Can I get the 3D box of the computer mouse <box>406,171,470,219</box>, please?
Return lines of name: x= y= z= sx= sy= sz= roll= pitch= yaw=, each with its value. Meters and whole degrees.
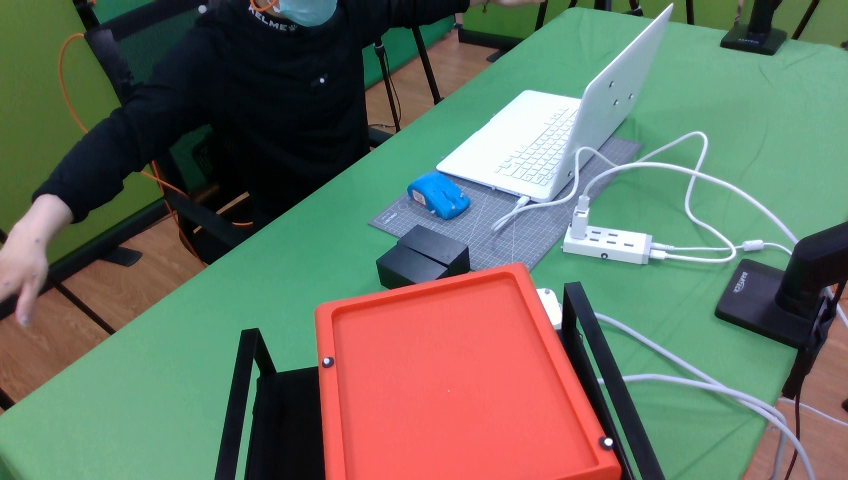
computer mouse: x=0.024 y=-0.082 z=1.049 sx=0.063 sy=0.041 sz=0.116 roll=-30 pitch=50 yaw=-27

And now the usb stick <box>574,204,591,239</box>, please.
usb stick: x=0.240 y=-0.023 z=0.914 sx=0.021 sy=0.059 sz=0.027 roll=-3 pitch=34 yaw=19

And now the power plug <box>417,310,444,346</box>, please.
power plug: x=0.007 y=0.122 z=0.785 sx=0.035 sy=0.053 sz=0.072 roll=0 pitch=39 yaw=7

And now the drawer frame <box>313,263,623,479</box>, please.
drawer frame: x=0.021 y=0.130 z=0.493 sx=0.202 sy=0.083 sz=0.212 roll=-11 pitch=41 yaw=-6

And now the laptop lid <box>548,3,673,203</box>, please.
laptop lid: x=0.320 y=-0.235 z=1.026 sx=0.013 sy=0.242 sz=0.357 roll=31 pitch=50 yaw=20

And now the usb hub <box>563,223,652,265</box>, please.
usb hub: x=0.281 y=0.005 z=0.925 sx=0.124 sy=0.025 sz=0.049 roll=10 pitch=43 yaw=19

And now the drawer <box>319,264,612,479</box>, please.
drawer: x=0.020 y=0.129 z=0.497 sx=0.195 sy=0.073 sz=0.210 roll=-11 pitch=41 yaw=-5

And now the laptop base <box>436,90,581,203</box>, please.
laptop base: x=0.214 y=-0.192 z=1.172 sx=0.233 sy=0.023 sz=0.355 roll=19 pitch=46 yaw=32

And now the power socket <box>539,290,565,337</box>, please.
power socket: x=0.081 y=0.112 z=0.822 sx=0.227 sy=0.033 sz=0.072 roll=-6 pitch=41 yaw=0
